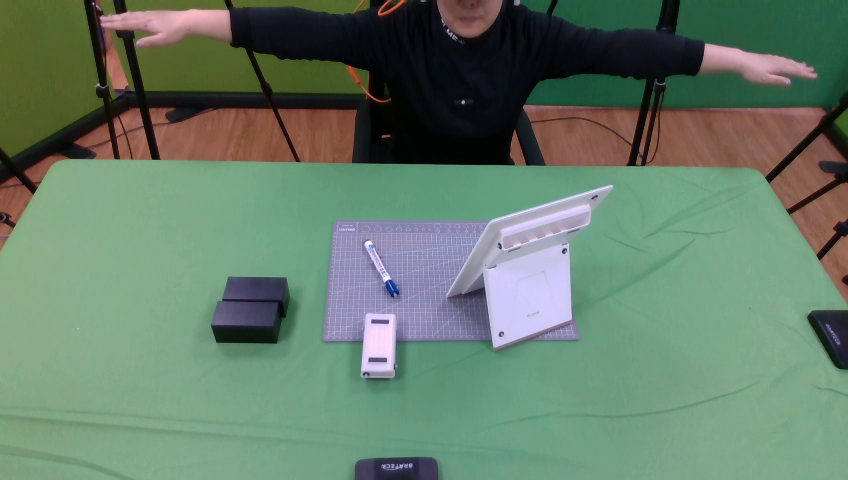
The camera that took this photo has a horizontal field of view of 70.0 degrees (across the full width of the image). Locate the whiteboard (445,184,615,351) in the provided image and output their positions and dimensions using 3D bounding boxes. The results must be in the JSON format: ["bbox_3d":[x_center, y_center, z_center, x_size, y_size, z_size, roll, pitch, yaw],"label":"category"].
[{"bbox_3d":[0.186,0.065,0.989,0.217,0.306,0.143,-15,68,-18],"label":"whiteboard"}]

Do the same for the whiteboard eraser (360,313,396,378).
[{"bbox_3d":[-0.075,0.176,1.006,0.055,0.042,0.112,3,50,-4],"label":"whiteboard eraser"}]

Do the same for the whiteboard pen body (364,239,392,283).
[{"bbox_3d":[-0.084,0.048,1.143,0.017,0.017,0.140,-16,49,-19],"label":"whiteboard pen body"}]

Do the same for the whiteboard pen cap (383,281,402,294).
[{"bbox_3d":[-0.057,0.088,1.104,0.033,0.018,0.018,18,48,11],"label":"whiteboard pen cap"}]
